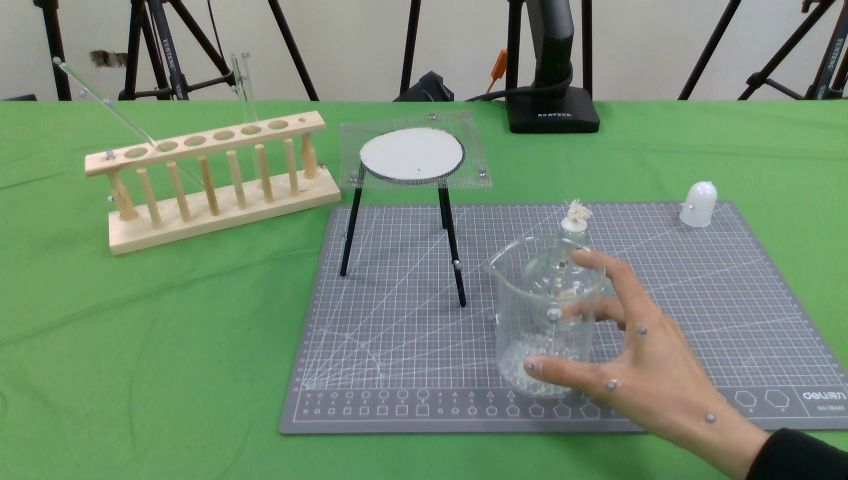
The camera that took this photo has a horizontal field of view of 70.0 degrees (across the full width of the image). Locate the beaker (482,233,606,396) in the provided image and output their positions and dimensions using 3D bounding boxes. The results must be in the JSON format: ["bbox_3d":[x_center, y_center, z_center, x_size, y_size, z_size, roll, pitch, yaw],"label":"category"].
[{"bbox_3d":[0.084,0.057,0.441,0.084,0.101,0.073,3,34,10],"label":"beaker"}]

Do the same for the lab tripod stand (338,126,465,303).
[{"bbox_3d":[-0.013,-0.025,0.556,0.148,0.133,0.147,-1,40,1],"label":"lab tripod stand"}]

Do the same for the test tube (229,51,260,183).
[{"bbox_3d":[-0.189,-0.128,0.654,0.017,0.151,0.017,0,36,0],"label":"test tube"}]

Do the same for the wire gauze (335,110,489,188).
[{"bbox_3d":[-0.015,-0.077,0.514,0.125,0.011,0.120,-4,38,-3],"label":"wire gauze"}]

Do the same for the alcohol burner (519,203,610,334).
[{"bbox_3d":[0.120,0.021,0.511,0.078,0.120,0.077,-1,37,1],"label":"alcohol burner"}]

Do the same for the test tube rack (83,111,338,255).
[{"bbox_3d":[-0.223,-0.066,0.657,0.243,0.086,0.066,-16,41,-18],"label":"test tube rack"}]

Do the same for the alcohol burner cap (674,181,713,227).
[{"bbox_3d":[0.288,-0.041,0.644,0.034,0.048,0.033,0,38,1],"label":"alcohol burner cap"}]

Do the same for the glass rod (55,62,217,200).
[{"bbox_3d":[-0.283,-0.101,0.613,0.008,0.202,0.008,-20,45,22],"label":"glass rod"}]
